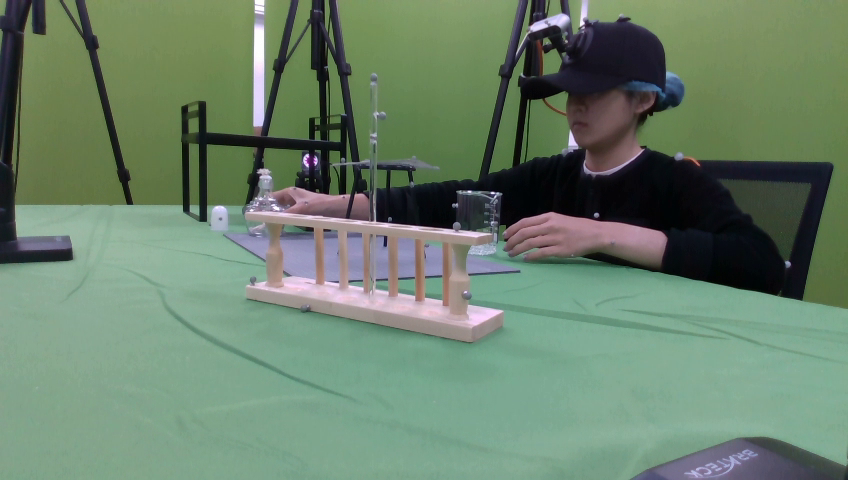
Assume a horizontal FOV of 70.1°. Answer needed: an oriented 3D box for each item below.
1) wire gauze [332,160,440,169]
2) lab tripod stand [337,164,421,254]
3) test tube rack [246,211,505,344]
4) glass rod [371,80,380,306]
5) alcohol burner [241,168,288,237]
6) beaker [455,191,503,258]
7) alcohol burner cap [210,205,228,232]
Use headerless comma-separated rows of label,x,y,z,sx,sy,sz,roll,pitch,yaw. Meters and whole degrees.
wire gauze,-0.052,-0.112,0.884,0.121,0.011,0.125,4,6,19
lab tripod stand,-0.060,-0.046,0.895,0.148,0.131,0.148,1,6,0
test tube rack,-0.049,0.025,0.547,0.241,0.085,0.067,7,8,29
glass rod,-0.042,-0.039,0.530,0.008,0.199,0.008,1,2,0
alcohol burner,-0.272,-0.065,1.035,0.078,0.119,0.078,4,6,0
beaker,0.087,-0.025,0.955,0.074,0.100,0.083,-1,9,-25
alcohol burner cap,-0.376,-0.040,1.107,0.034,0.048,0.034,2,7,0
